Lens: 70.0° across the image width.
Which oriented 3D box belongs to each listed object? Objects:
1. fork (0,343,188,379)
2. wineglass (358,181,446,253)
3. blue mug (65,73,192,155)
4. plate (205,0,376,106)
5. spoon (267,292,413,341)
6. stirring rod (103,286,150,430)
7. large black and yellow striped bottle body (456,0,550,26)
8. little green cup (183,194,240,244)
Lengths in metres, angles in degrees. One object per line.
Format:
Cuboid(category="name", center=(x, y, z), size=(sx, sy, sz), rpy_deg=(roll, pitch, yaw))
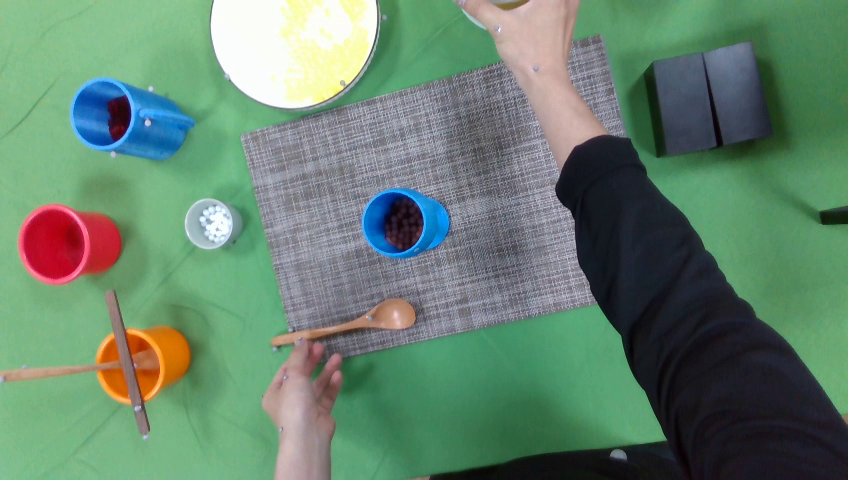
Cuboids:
Cuboid(category="fork", center=(-0.393, 0.147, 0.725), size=(0.208, 0.018, 0.028), rpy_deg=(-2, 100, -35))
Cuboid(category="wineglass", center=(-0.018, -0.024, 0.645), size=(0.073, 0.172, 0.074), rpy_deg=(0, 92, 9))
Cuboid(category="blue mug", center=(-0.338, -0.147, 0.723), size=(0.116, 0.106, 0.082), rpy_deg=(0, 93, 8))
Cuboid(category="plate", center=(-0.157, -0.263, 0.724), size=(0.209, 0.038, 0.209), rpy_deg=(0, 94, 8))
Cuboid(category="spoon", center=(-0.105, 0.099, 0.741), size=(0.193, 0.021, 0.042), rpy_deg=(-15, 111, 8))
Cuboid(category="stirring rod", center=(-0.352, 0.139, 0.716), size=(0.014, 0.006, 0.176), rpy_deg=(-14, 91, 10))
Cuboid(category="large black and yellow striped bottle body", center=(0.080, -0.308, 0.613), size=(0.130, 0.184, 0.131), rpy_deg=(0, 93, 9))
Cuboid(category="little green cup", center=(-0.261, -0.025, 0.752), size=(0.061, 0.038, 0.061), rpy_deg=(1, 94, 9))
